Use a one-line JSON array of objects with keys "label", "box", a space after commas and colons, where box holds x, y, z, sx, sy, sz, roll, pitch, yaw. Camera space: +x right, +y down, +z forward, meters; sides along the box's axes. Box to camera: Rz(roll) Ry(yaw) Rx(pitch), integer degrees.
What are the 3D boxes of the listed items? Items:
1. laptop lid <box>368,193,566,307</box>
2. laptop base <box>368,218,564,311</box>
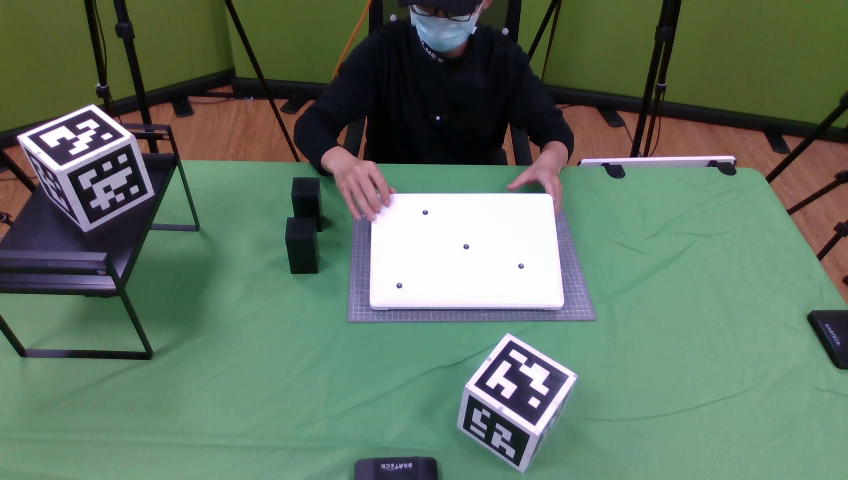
[{"label": "laptop lid", "box": [0.077, 0.013, 1.118, 0.357, 0.013, 0.240, 2, 63, -2]}, {"label": "laptop base", "box": [0.074, 0.044, 1.160, 0.354, 0.023, 0.234, 0, 43, -3]}]
